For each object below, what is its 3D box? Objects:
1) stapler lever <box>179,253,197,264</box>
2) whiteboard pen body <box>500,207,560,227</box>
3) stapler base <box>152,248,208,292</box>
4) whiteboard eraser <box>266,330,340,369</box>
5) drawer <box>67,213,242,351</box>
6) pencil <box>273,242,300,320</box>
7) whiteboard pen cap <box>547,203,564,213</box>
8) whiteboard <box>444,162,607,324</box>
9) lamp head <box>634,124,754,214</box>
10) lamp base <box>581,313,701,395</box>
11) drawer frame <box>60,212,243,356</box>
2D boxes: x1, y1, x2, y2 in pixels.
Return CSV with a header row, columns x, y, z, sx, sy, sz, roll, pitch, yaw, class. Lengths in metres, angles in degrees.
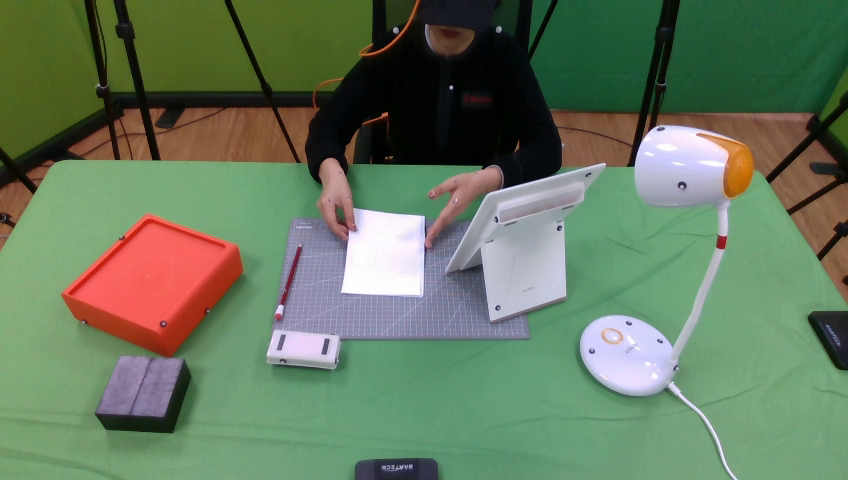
x,y,z,sx,sy,sz,roll,pitch,yaw,class
-0.441,0.026,1.086,0.117,0.040,0.027,29,35,31,stapler lever
0.222,-0.051,1.260,0.141,0.017,0.017,-15,49,-16,whiteboard pen body
-0.443,0.049,1.100,0.130,0.024,0.041,31,36,30,stapler base
-0.198,0.181,0.994,0.113,0.042,0.055,5,45,1,whiteboard eraser
-0.461,0.068,1.057,0.194,0.073,0.211,19,48,13,drawer
-0.249,0.071,1.115,0.012,0.012,0.193,5,44,1,pencil
0.277,-0.066,1.275,0.033,0.018,0.018,-18,50,-15,whiteboard pen cap
0.186,0.025,1.029,0.217,0.306,0.143,-15,68,-18,whiteboard
0.351,-0.089,0.776,0.112,0.113,0.122,-30,30,-28,lamp head
0.361,0.144,0.973,0.178,0.181,0.160,34,53,23,lamp base
-0.462,0.070,1.053,0.201,0.083,0.213,18,48,12,drawer frame
